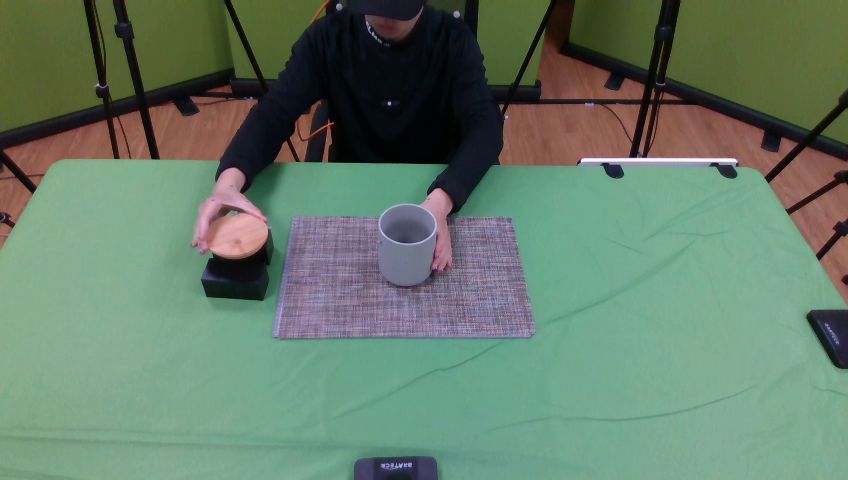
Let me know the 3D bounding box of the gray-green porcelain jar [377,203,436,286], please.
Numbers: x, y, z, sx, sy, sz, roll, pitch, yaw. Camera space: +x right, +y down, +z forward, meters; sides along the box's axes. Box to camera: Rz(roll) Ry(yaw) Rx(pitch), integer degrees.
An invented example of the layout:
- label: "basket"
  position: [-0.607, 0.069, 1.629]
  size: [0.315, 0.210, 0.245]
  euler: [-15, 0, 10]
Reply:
- label: "gray-green porcelain jar"
  position: [-0.033, 0.014, 1.106]
  size: [0.106, 0.127, 0.105]
  euler: [2, 46, -2]

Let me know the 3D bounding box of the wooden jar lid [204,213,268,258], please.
- label: "wooden jar lid"
  position: [-0.332, -0.006, 1.076]
  size: [0.108, 0.021, 0.107]
  euler: [3, 43, -2]
